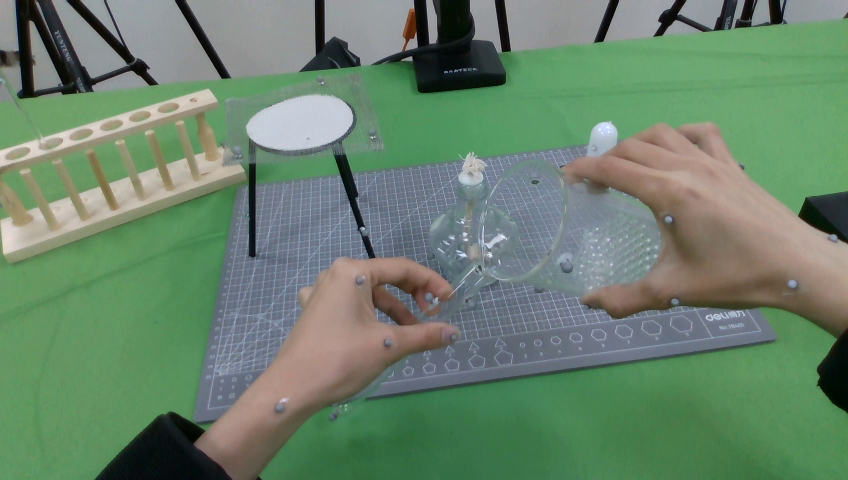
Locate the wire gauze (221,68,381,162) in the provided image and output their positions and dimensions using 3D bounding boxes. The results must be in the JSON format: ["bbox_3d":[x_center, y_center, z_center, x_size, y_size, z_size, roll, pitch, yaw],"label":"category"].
[{"bbox_3d":[-0.106,-0.104,0.499,0.125,0.011,0.120,-11,42,-7],"label":"wire gauze"}]

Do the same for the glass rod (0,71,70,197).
[{"bbox_3d":[-0.374,-0.111,0.570,0.008,0.201,0.008,-2,46,2],"label":"glass rod"}]

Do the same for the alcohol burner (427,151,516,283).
[{"bbox_3d":[0.040,-0.022,0.512,0.078,0.120,0.077,-3,40,3],"label":"alcohol burner"}]

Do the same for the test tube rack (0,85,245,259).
[{"bbox_3d":[-0.322,-0.076,0.627,0.243,0.086,0.066,-24,45,-21],"label":"test tube rack"}]

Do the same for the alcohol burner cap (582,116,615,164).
[{"bbox_3d":[0.189,-0.110,0.651,0.034,0.048,0.033,-2,42,2],"label":"alcohol burner cap"}]

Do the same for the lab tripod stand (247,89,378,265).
[{"bbox_3d":[-0.101,-0.054,0.545,0.148,0.133,0.147,-3,44,3],"label":"lab tripod stand"}]

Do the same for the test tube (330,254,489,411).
[{"bbox_3d":[-0.013,0.064,0.396,0.150,0.017,0.017,-46,40,19],"label":"test tube"}]

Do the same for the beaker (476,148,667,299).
[{"bbox_3d":[0.092,-0.003,0.375,0.101,0.084,0.073,14,37,-32],"label":"beaker"}]
